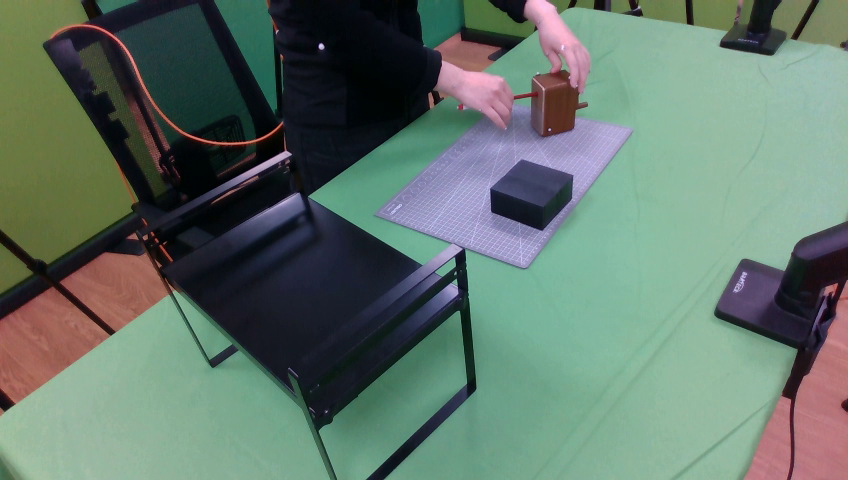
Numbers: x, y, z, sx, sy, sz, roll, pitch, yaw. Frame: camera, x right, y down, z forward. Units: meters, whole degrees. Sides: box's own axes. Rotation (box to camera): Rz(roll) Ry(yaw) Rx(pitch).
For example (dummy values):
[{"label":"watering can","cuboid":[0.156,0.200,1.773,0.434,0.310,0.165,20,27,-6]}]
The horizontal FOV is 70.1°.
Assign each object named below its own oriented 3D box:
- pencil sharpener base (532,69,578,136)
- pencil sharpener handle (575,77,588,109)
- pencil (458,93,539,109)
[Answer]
[{"label":"pencil sharpener base","cuboid":[0.256,-0.268,1.179,0.077,0.107,0.061,-15,41,-8]},{"label":"pencil sharpener handle","cuboid":[0.304,-0.289,1.177,0.031,0.068,0.035,-15,36,-8]},{"label":"pencil","cuboid":[0.158,-0.267,1.146,0.194,0.012,0.012,-10,41,-8]}]
